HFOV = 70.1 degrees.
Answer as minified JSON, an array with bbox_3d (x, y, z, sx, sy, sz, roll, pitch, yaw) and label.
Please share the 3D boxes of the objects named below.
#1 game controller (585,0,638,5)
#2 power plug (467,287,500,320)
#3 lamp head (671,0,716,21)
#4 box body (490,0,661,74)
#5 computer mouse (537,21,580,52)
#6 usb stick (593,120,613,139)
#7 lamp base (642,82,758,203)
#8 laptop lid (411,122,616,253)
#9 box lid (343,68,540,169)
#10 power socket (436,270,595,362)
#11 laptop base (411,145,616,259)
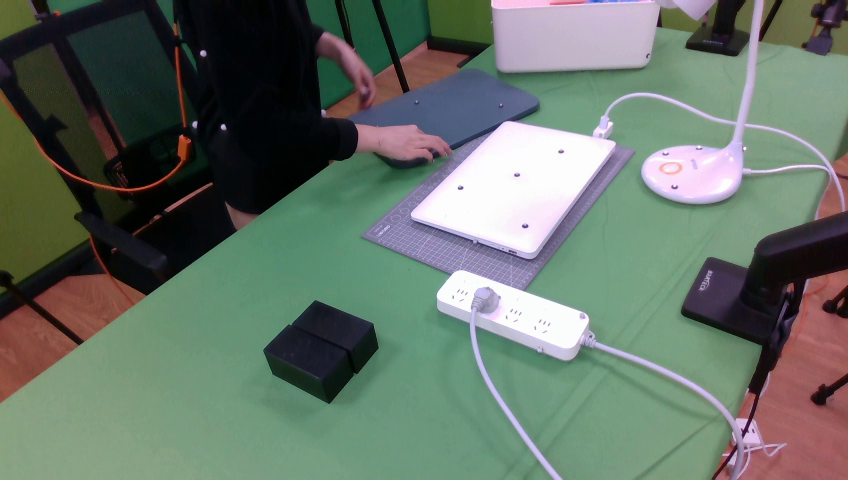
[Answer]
[{"bbox_3d":[0.427,-0.548,1.425,0.155,0.052,0.096,-16,45,-11],"label":"game controller"},{"bbox_3d":[0.073,0.092,0.814,0.035,0.053,0.073,29,54,34],"label":"power plug"},{"bbox_3d":[0.375,-0.373,0.807,0.122,0.113,0.112,-40,27,32],"label":"lamp head"},{"bbox_3d":[0.346,-0.520,1.429,0.363,0.161,0.253,0,41,9],"label":"box body"},{"bbox_3d":[0.335,-0.503,1.488,0.118,0.041,0.062,21,21,-28],"label":"computer mouse"},{"bbox_3d":[0.336,-0.201,1.147,0.021,0.027,0.059,26,53,27],"label":"usb stick"},{"bbox_3d":[0.464,-0.174,0.992,0.179,0.181,0.159,-5,41,-1],"label":"lamp base"},{"bbox_3d":[0.165,-0.111,1.067,0.240,0.013,0.357,19,46,31],"label":"laptop lid"},{"bbox_3d":[0.038,-0.272,1.300,0.373,0.015,0.261,-28,44,-22],"label":"box lid"},{"bbox_3d":[0.118,0.101,0.832,0.225,0.033,0.072,19,48,27],"label":"power socket"},{"bbox_3d":[0.168,-0.101,1.073,0.234,0.023,0.355,17,46,30],"label":"laptop base"}]
